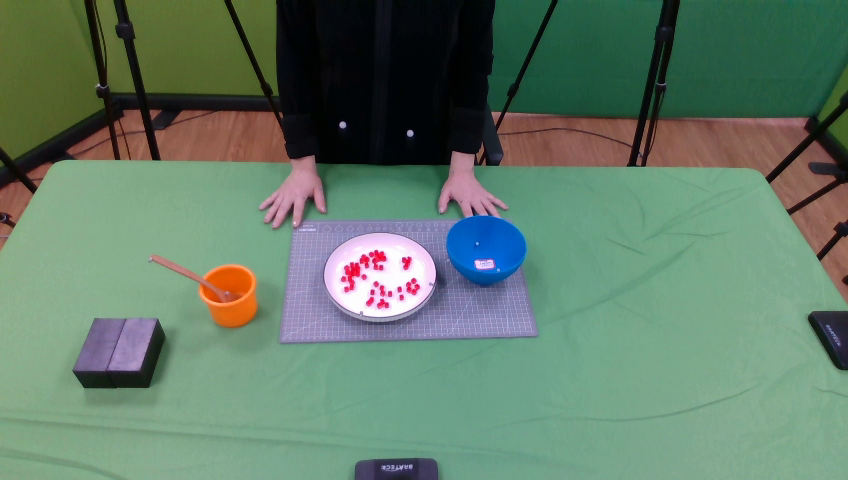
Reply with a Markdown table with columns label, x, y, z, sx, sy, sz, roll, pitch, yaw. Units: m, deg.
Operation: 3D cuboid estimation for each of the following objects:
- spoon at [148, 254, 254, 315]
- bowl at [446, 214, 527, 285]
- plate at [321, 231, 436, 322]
| label | x | y | z | sx | sy | sz | roll | pitch | yaw |
| --- | --- | --- | --- | --- | --- | --- | --- | --- | --- |
| spoon | -0.368 | 0.072 | 1.012 | 0.021 | 0.195 | 0.041 | -31 | 36 | 29 |
| bowl | 0.112 | 0.030 | 1.134 | 0.151 | 0.077 | 0.150 | 2 | 46 | -2 |
| plate | -0.083 | 0.070 | 1.109 | 0.209 | 0.038 | 0.208 | 3 | 46 | -3 |
